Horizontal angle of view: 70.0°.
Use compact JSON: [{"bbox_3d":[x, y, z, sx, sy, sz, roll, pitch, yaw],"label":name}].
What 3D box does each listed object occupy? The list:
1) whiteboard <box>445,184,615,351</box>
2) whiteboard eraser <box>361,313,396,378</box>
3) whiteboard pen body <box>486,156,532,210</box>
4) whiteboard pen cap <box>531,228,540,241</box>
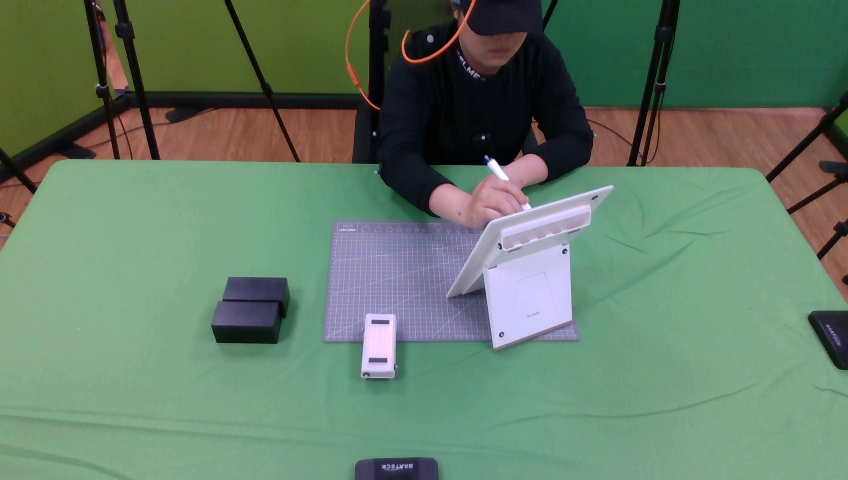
[{"bbox_3d":[0.187,0.065,0.989,0.217,0.306,0.143,-15,68,-18],"label":"whiteboard"},{"bbox_3d":[-0.075,0.176,1.006,0.055,0.042,0.112,3,50,-4],"label":"whiteboard eraser"},{"bbox_3d":[0.152,-0.087,1.035,0.017,0.017,0.140,-29,75,-28],"label":"whiteboard pen body"},{"bbox_3d":[0.225,-0.011,1.221,0.018,0.018,0.033,12,29,8],"label":"whiteboard pen cap"}]
